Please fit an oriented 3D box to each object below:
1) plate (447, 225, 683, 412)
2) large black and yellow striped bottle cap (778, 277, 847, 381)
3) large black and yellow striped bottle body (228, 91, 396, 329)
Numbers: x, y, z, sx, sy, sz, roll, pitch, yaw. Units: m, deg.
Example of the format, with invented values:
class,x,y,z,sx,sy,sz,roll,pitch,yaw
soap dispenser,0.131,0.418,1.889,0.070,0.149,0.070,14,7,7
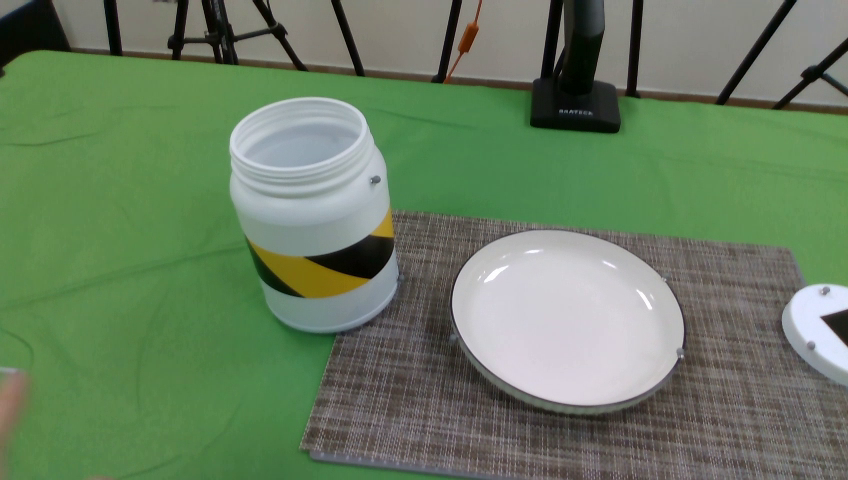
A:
class,x,y,z,sx,sy,sz,roll,pitch,yaw
plate,0.124,0.068,0.552,0.208,0.039,0.205,1,44,0
large black and yellow striped bottle cap,0.390,0.081,0.558,0.115,0.019,0.114,3,45,-3
large black and yellow striped bottle body,-0.096,-0.024,0.540,0.131,0.186,0.129,-2,43,2
